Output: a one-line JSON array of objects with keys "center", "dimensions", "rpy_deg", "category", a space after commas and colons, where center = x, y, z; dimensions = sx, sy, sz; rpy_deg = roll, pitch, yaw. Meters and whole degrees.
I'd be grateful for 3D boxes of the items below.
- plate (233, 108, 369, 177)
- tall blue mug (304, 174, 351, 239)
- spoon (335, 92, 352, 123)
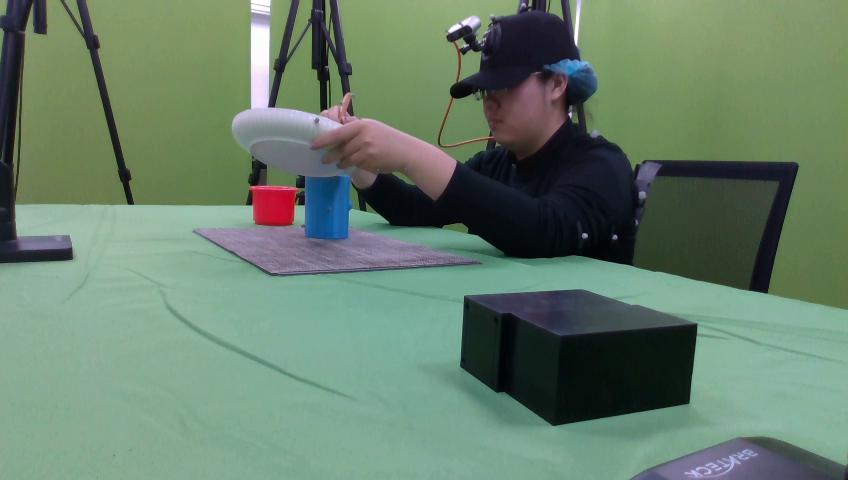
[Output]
[{"center": [-0.191, -0.140, 0.940], "dimensions": [0.208, 0.039, 0.208], "rpy_deg": [7, -13, 2], "category": "plate"}, {"center": [-0.178, -0.062, 1.062], "dimensions": [0.078, 0.108, 0.106], "rpy_deg": [-5, 11, -38], "category": "tall blue mug"}, {"center": [-0.161, -0.195, 1.067], "dimensions": [0.041, 0.022, 0.193], "rpy_deg": [2, 51, 18], "category": "spoon"}]
